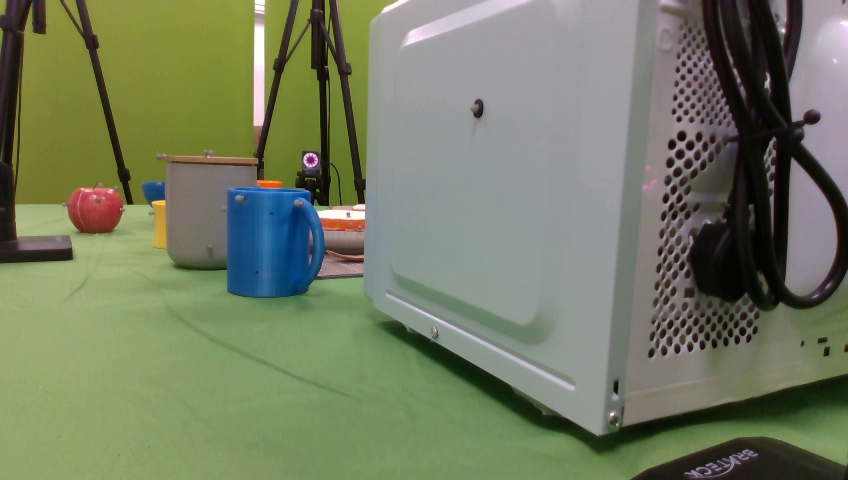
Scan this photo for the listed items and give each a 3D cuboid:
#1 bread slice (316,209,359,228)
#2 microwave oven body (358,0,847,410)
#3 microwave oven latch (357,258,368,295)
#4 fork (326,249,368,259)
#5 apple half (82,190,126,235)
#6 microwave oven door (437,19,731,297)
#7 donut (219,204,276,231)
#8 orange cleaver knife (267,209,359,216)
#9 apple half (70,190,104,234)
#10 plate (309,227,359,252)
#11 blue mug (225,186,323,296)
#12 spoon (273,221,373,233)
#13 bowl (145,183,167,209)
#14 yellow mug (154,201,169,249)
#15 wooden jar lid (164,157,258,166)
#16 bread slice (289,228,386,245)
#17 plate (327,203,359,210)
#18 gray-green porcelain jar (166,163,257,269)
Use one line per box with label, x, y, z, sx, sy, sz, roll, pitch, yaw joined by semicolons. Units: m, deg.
bread slice;-0.127;-0.034;0.933;0.134;0.018;0.107;3;10;28
microwave oven body;0.210;-0.051;0.471;0.444;0.260;0.324;-1;7;-28
microwave oven latch;-0.019;0.031;0.529;0.079;0.029;0.030;-1;7;-25
fork;-0.032;0.015;0.835;0.208;0.018;0.028;-3;-1;-23
apple half;-0.517;-0.046;0.994;0.032;0.081;0.081;0;6;26
microwave oven door;0.181;-0.076;0.618;0.358;0.243;0.039;-2;9;-28
donut;-0.316;-0.039;1.083;0.099;0.048;0.099;3;7;0
orange cleaver knife;-0.259;-0.064;1.423;0.212;0.012;0.077;-4;3;-30
apple half;-0.552;-0.047;1.009;0.053;0.074;0.081;0;9;26
plate;-0.130;-0.011;0.945;0.208;0.039;0.207;2;7;0
blue mug;-0.148;0.000;0.618;0.116;0.106;0.083;7;9;33
spoon;-0.180;-0.027;1.109;0.195;0.021;0.041;-4;-15;-33
bowl;-0.459;-0.068;1.175;0.151;0.077;0.151;2;7;0
yellow mug;-0.338;-0.022;0.899;0.130;0.064;0.100;8;9;34
wooden jar lid;-0.261;-0.093;0.746;0.108;0.020;0.108;0;9;0
bread slice;-0.125;-0.007;0.938;0.131;0.019;0.105;3;6;31
plate;-0.102;-0.053;1.299;0.209;0.038;0.209;2;8;0
gray-green porcelain jar;-0.263;-0.031;0.754;0.106;0.126;0.106;2;7;0
